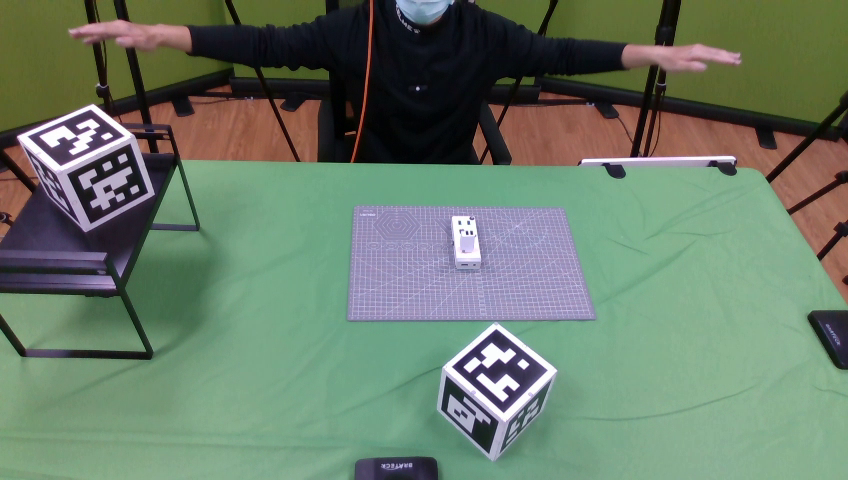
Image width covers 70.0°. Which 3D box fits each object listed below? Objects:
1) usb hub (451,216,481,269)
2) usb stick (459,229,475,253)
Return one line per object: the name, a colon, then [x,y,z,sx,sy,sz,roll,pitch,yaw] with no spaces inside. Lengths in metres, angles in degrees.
usb hub: [0.082,0.004,1.194,0.049,0.025,0.124,1,46,-4]
usb stick: [0.081,0.006,1.150,0.027,0.059,0.021,-1,45,-6]
